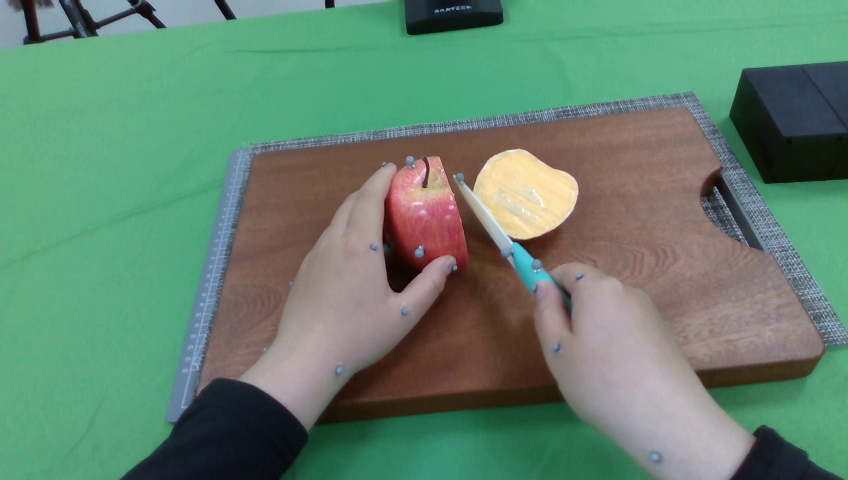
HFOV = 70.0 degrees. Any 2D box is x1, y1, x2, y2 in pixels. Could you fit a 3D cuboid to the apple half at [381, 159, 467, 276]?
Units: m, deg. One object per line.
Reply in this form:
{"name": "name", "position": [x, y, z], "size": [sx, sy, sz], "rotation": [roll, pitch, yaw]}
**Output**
{"name": "apple half", "position": [-0.003, -0.012, 0.433], "size": [0.053, 0.075, 0.080], "rotation": [-15, 50, -2]}

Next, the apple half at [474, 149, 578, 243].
{"name": "apple half", "position": [0.074, -0.027, 0.465], "size": [0.081, 0.033, 0.080], "rotation": [-2, 62, 3]}

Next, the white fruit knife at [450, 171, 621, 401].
{"name": "white fruit knife", "position": [0.062, 0.015, 0.396], "size": [0.016, 0.028, 0.205], "rotation": [-21, 48, -14]}
